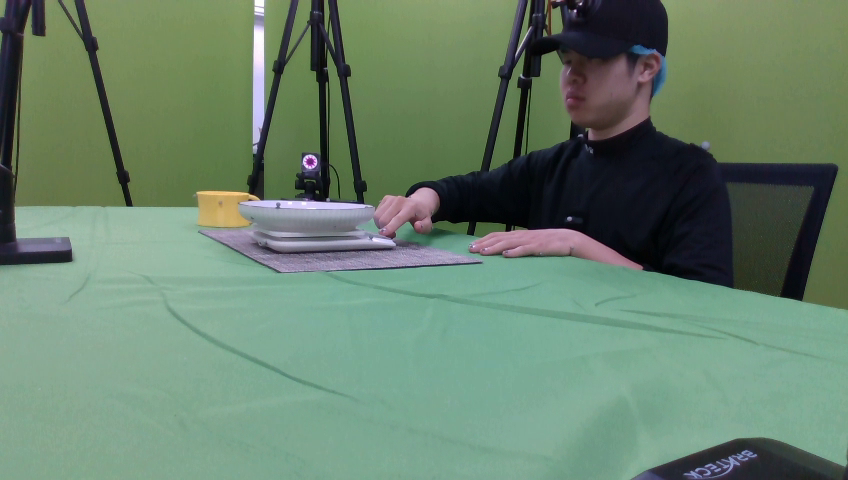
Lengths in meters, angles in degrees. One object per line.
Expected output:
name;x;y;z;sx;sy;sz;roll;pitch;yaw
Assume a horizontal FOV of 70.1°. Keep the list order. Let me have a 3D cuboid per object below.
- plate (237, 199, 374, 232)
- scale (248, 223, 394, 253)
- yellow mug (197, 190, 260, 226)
plate;-0.183;-0.039;0.941;0.209;0.038;0.209;3;7;0
scale;-0.162;-0.006;0.954;0.202;0.031;0.148;-2;9;-32
yellow mug;-0.389;-0.065;1.223;0.131;0.064;0.099;-1;8;-34
